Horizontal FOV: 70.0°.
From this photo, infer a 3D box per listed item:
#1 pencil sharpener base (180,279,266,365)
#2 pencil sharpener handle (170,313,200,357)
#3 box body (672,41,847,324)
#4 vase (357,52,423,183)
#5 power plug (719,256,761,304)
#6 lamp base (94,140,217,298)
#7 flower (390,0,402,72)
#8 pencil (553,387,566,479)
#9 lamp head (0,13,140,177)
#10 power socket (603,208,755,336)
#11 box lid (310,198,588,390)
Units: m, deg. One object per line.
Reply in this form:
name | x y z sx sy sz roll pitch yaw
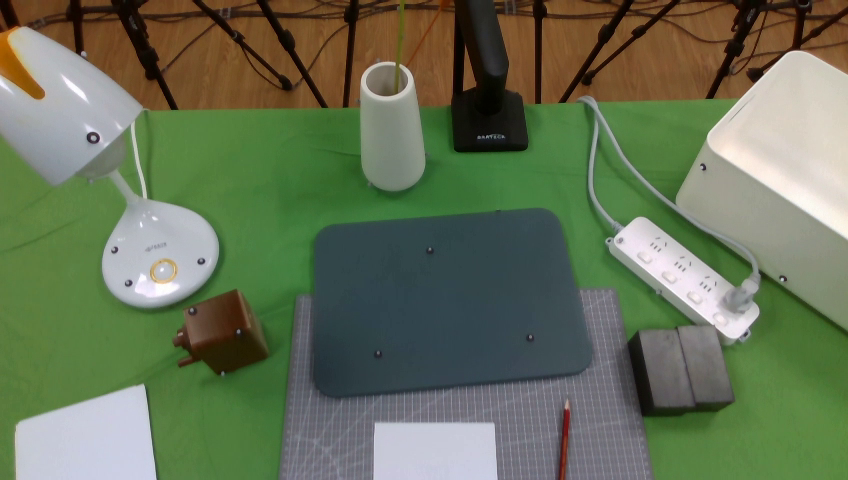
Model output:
pencil sharpener base | -0.252 0.107 0.763 0.077 0.108 0.061 -20 64 -11
pencil sharpener handle | -0.298 0.121 0.741 0.031 0.068 0.035 -20 51 -11
box body | 0.569 -0.068 0.838 0.361 0.161 0.254 41 68 19
vase | -0.050 -0.170 0.865 0.098 0.201 0.097 1 60 -1
power plug | 0.429 0.061 0.814 0.072 0.053 0.035 -26 62 -19
lamp base | -0.383 -0.038 0.798 0.161 0.182 0.177 -29 63 -16
flower | -0.041 -0.222 0.799 0.044 0.364 0.038 -20 51 -28
pencil | 0.161 0.272 0.731 0.012 0.012 0.192 10 63 5
lamp head | -0.339 -0.136 0.538 0.112 0.124 0.111 -30 29 19
power socket | 0.356 0.041 0.850 0.072 0.033 0.225 -38 68 -19
box lid | 0.029 0.065 0.844 0.372 0.015 0.261 -5 61 -3
